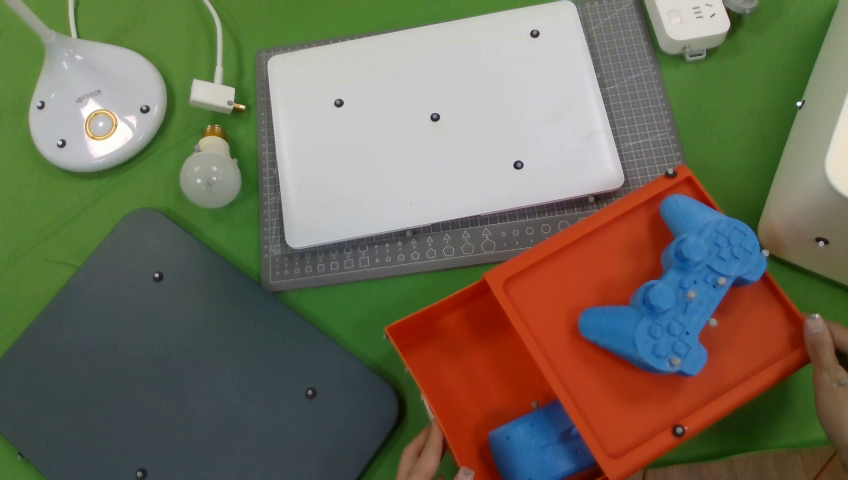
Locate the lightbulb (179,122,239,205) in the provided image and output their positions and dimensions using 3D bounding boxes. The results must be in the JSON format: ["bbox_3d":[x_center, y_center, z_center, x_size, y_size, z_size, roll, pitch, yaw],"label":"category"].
[{"bbox_3d":[-0.228,-0.086,0.648,0.059,0.060,0.106,-10,55,2],"label":"lightbulb"}]

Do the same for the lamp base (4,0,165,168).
[{"bbox_3d":[-0.391,-0.190,0.627,0.160,0.181,0.178,-35,69,-7],"label":"lamp base"}]

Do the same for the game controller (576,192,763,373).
[{"bbox_3d":[0.205,0.035,0.498,0.097,0.052,0.155,37,79,11],"label":"game controller"}]

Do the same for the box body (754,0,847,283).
[{"bbox_3d":[0.488,-0.120,0.540,0.253,0.161,0.363,24,75,12],"label":"box body"}]

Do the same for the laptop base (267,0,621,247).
[{"bbox_3d":[0.011,-0.131,0.659,0.354,0.023,0.234,-11,74,1],"label":"laptop base"}]

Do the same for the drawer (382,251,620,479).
[{"bbox_3d":[0.099,0.116,0.536,0.212,0.074,0.193,-28,71,-4],"label":"drawer"}]

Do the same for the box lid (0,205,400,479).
[{"bbox_3d":[-0.236,0.149,0.589,0.369,0.015,0.263,34,77,14],"label":"box lid"}]

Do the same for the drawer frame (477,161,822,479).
[{"bbox_3d":[0.186,0.068,0.542,0.213,0.083,0.200,-29,71,-5],"label":"drawer frame"}]

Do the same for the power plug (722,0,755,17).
[{"bbox_3d":[0.358,-0.274,0.668,0.072,0.053,0.035,-28,66,-23],"label":"power plug"}]

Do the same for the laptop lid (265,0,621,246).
[{"bbox_3d":[0.010,-0.132,0.647,0.357,0.013,0.240,-9,73,2],"label":"laptop lid"}]

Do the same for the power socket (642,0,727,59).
[{"bbox_3d":[0.278,-0.310,0.691,0.072,0.033,0.225,-9,70,1],"label":"power socket"}]

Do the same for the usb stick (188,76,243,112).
[{"bbox_3d":[-0.232,-0.161,0.677,0.059,0.021,0.027,12,74,-26],"label":"usb stick"}]
